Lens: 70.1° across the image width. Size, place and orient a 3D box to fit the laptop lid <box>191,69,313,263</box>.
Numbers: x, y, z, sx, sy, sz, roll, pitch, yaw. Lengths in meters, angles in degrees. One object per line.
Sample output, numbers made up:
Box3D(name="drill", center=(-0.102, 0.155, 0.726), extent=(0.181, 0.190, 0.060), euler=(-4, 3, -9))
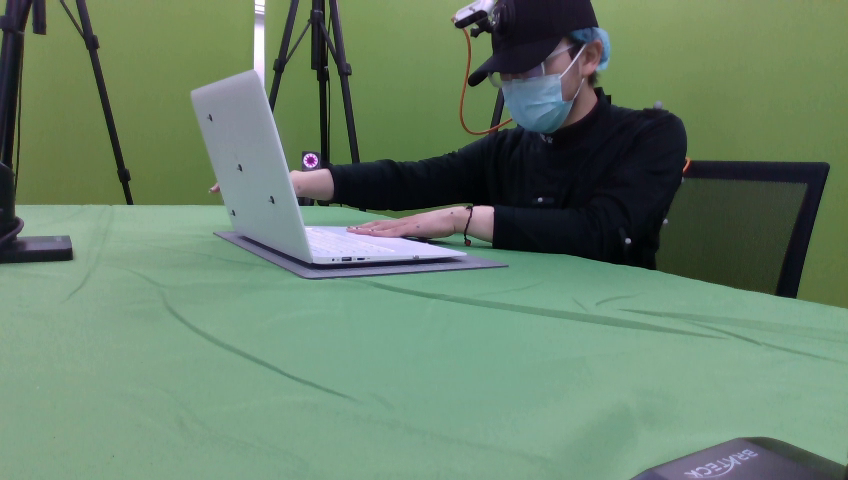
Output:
Box3D(name="laptop lid", center=(-0.252, -0.102, 0.840), extent=(0.013, 0.242, 0.355), euler=(-22, 20, -28))

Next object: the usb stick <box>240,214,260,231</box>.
Box3D(name="usb stick", center=(-0.302, -0.031, 1.057), extent=(0.021, 0.027, 0.059), euler=(-4, 13, -36))

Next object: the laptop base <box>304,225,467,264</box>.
Box3D(name="laptop base", center=(-0.127, 0.005, 0.937), extent=(0.237, 0.023, 0.352), euler=(2, 6, -33))
